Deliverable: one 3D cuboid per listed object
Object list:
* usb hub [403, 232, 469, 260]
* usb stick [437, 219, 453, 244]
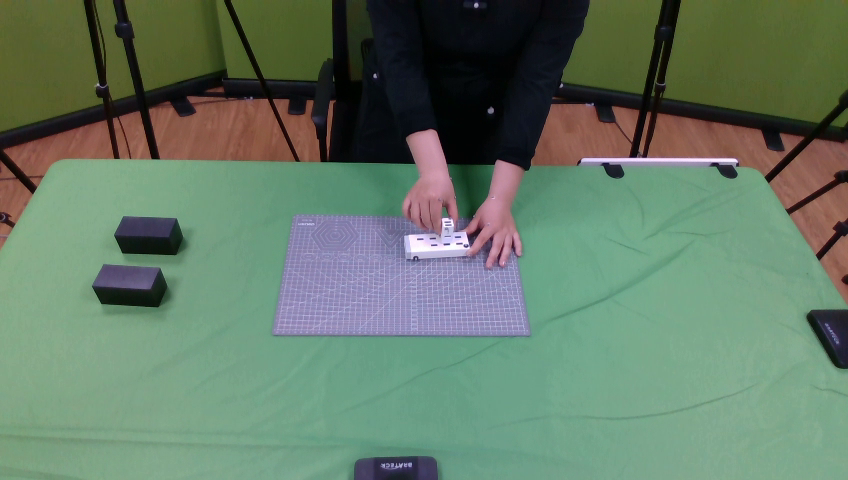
[{"bbox_3d":[0.023,0.012,1.182,0.125,0.025,0.049,-3,46,-7],"label":"usb hub"},{"bbox_3d":[0.040,-0.012,1.165,0.021,0.059,0.027,-2,47,-14],"label":"usb stick"}]
